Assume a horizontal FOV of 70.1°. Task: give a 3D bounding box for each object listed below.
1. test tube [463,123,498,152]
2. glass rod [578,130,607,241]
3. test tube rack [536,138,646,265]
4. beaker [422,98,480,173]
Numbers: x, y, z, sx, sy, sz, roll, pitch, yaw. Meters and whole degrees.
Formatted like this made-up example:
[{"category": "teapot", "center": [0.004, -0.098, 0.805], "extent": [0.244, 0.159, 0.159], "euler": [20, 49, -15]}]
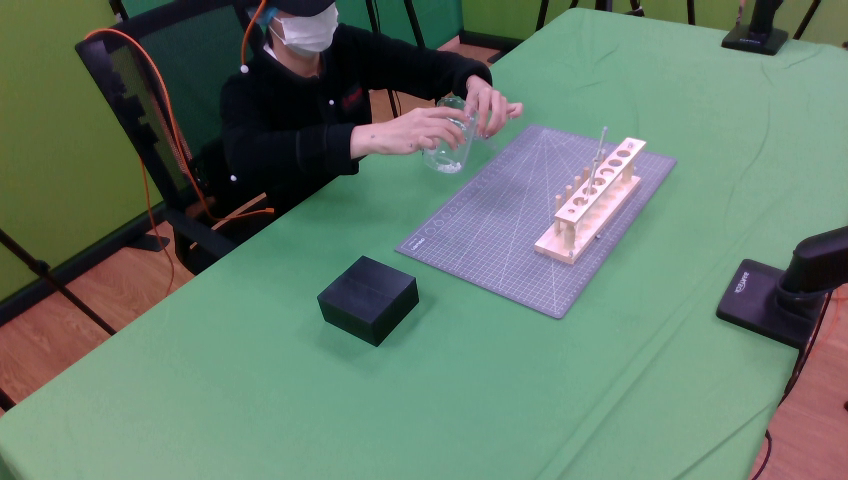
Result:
[{"category": "test tube", "center": [0.103, -0.181, 1.079], "extent": [0.017, 0.151, 0.017], "euler": [-3, 83, 24]}, {"category": "glass rod", "center": [0.240, -0.072, 0.866], "extent": [0.008, 0.200, 0.008], "euler": [0, 44, 1]}, {"category": "test tube rack", "center": [0.268, -0.071, 0.964], "extent": [0.066, 0.085, 0.243], "euler": [23, 49, 32]}, {"category": "beaker", "center": [0.043, -0.163, 0.967], "extent": [0.073, 0.084, 0.100], "euler": [8, 71, 31]}]
